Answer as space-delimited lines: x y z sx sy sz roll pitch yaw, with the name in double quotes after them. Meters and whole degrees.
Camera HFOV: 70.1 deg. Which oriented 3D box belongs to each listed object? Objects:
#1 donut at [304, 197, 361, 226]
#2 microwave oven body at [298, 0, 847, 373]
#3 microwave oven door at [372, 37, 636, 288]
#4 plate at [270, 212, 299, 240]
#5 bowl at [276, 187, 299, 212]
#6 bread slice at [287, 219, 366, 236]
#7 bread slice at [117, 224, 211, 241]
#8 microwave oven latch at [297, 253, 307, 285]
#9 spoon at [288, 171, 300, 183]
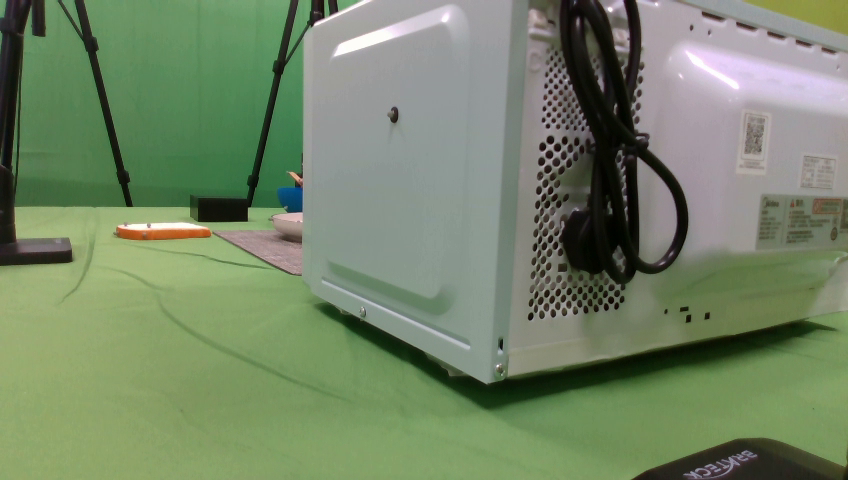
-0.160 -0.050 1.055 0.099 0.048 0.099 3 8 0 "donut"
0.151 -0.055 0.542 0.444 0.260 0.324 -2 7 -33 "microwave oven body"
0.109 -0.080 0.686 0.358 0.243 0.039 -2 9 -33 "microwave oven door"
-0.162 -0.022 1.058 0.208 0.039 0.207 2 7 0 "plate"
-0.241 -0.073 1.302 0.151 0.077 0.151 2 7 0 "bowl"
-0.170 -0.022 1.056 0.134 0.018 0.107 2 7 -6 "bread slice"
-0.443 -0.015 1.022 0.132 0.019 0.104 -3 8 -45 "bread slice"
-0.081 0.027 0.582 0.079 0.029 0.030 -1 7 -32 "microwave oven latch"
-0.267 -0.115 1.351 0.042 0.021 0.193 -4 34 -30 "spoon"
